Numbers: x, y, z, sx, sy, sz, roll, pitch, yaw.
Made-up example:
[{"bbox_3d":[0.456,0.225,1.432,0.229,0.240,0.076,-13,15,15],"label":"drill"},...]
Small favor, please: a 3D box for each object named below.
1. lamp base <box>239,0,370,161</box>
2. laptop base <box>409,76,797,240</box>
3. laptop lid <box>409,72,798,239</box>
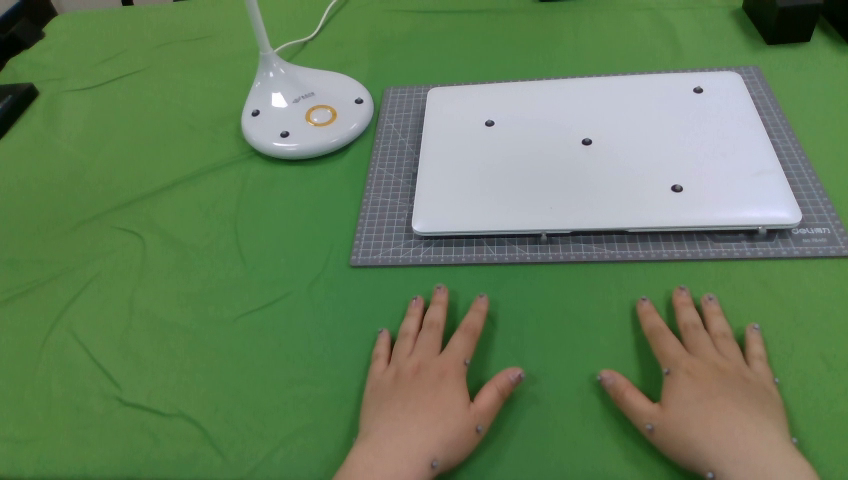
[{"bbox_3d":[-0.163,-0.207,0.685,0.177,0.182,0.160,30,58,34],"label":"lamp base"},{"bbox_3d":[0.167,-0.089,0.637,0.354,0.023,0.233,-2,51,7],"label":"laptop base"},{"bbox_3d":[0.166,-0.095,0.626,0.356,0.013,0.239,0,50,9],"label":"laptop lid"}]
